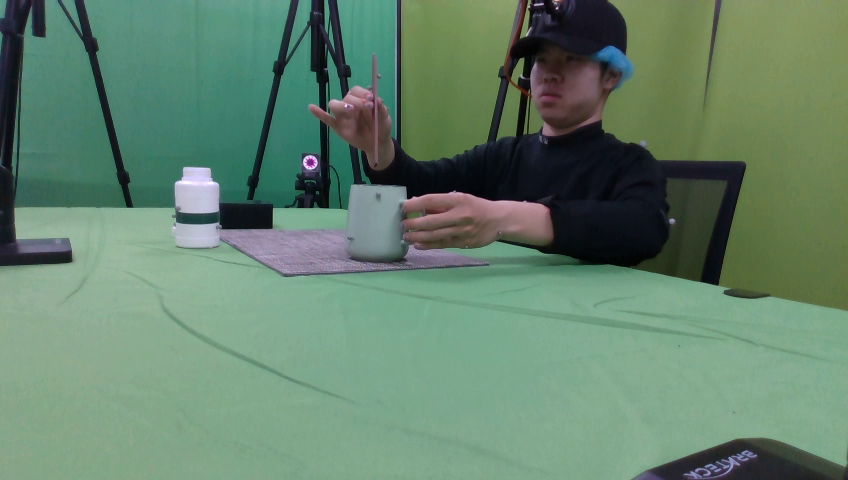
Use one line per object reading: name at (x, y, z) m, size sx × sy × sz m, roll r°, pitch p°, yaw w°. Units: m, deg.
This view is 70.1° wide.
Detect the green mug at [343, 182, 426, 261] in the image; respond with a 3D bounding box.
green mug at (-0.053, -0.026, 0.848) m, size 0.125 × 0.105 × 0.093 m, roll 6°, pitch 8°, yaw 29°

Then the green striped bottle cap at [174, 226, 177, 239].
green striped bottle cap at (-0.404, -0.015, 1.036) m, size 0.044 × 0.020 × 0.044 m, roll -1°, pitch 9°, yaw 0°

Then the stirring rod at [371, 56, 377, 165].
stirring rod at (-0.074, -0.194, 0.894) m, size 0.006 × 0.176 × 0.014 m, roll 5°, pitch -16°, yaw -23°

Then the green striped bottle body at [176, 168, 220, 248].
green striped bottle body at (-0.345, -0.050, 0.924) m, size 0.063 × 0.119 × 0.063 m, roll 2°, pitch 7°, yaw 0°
